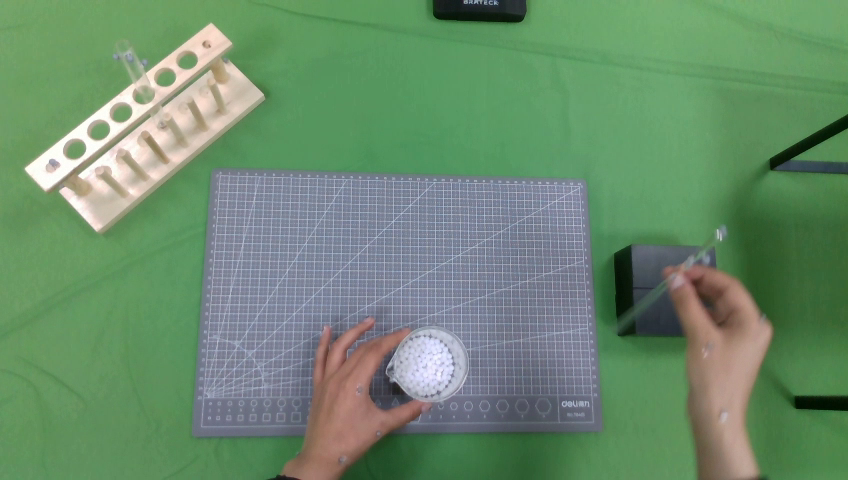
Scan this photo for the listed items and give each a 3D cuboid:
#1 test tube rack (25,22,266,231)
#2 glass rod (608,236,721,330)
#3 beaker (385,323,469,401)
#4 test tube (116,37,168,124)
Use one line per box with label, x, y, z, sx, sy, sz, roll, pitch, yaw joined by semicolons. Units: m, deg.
test tube rack;-0.294;-0.123;0.667;0.242;0.085;0.066;-44;84;-13
glass rod;0.215;0.047;0.561;0.008;0.201;0.008;5;60;-8
beaker;-0.001;0.130;0.635;0.084;0.100;0.073;-9;78;-7
test tube;-0.287;-0.160;0.625;0.017;0.150;0.017;3;73;-9
